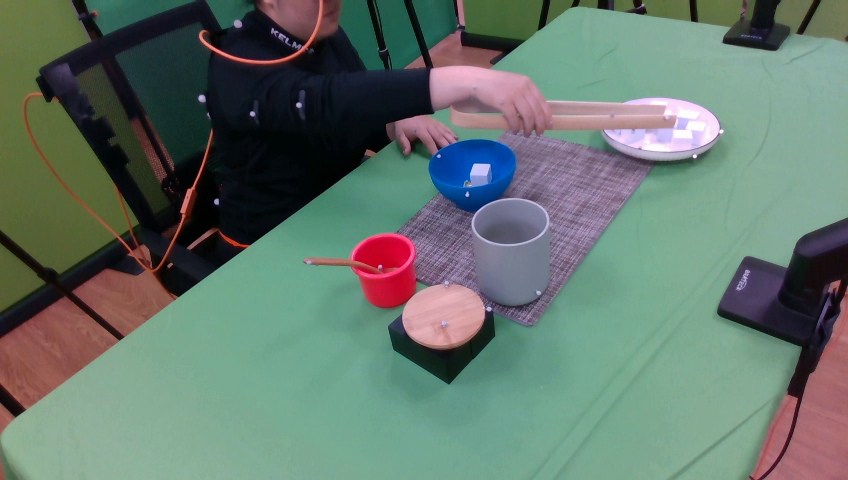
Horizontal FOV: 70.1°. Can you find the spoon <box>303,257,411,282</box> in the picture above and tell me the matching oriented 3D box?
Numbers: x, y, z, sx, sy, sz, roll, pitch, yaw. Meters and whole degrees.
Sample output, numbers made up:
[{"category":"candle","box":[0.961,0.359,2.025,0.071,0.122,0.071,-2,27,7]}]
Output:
[{"category":"spoon","box":[-0.092,0.038,0.865,0.195,0.021,0.041,16,16,-46]}]

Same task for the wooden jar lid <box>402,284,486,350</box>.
[{"category":"wooden jar lid","box":[0.027,0.101,0.786,0.108,0.021,0.108,-5,39,4]}]

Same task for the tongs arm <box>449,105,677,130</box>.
[{"category":"tongs arm","box":[0.235,-0.206,1.016,0.386,0.026,0.050,-3,40,-9]}]

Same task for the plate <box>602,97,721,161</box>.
[{"category":"plate","box":[0.437,-0.202,1.126,0.209,0.038,0.208,-5,39,5]}]

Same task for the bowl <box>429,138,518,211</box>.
[{"category":"bowl","box":[0.087,-0.104,1.043,0.151,0.077,0.150,-5,40,5]}]

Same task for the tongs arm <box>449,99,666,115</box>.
[{"category":"tongs arm","box":[0.233,-0.224,1.039,0.389,0.028,0.028,-1,43,-8]}]

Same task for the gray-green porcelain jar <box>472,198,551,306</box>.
[{"category":"gray-green porcelain jar","box":[0.125,0.021,0.850,0.106,0.127,0.105,-6,40,5]}]
